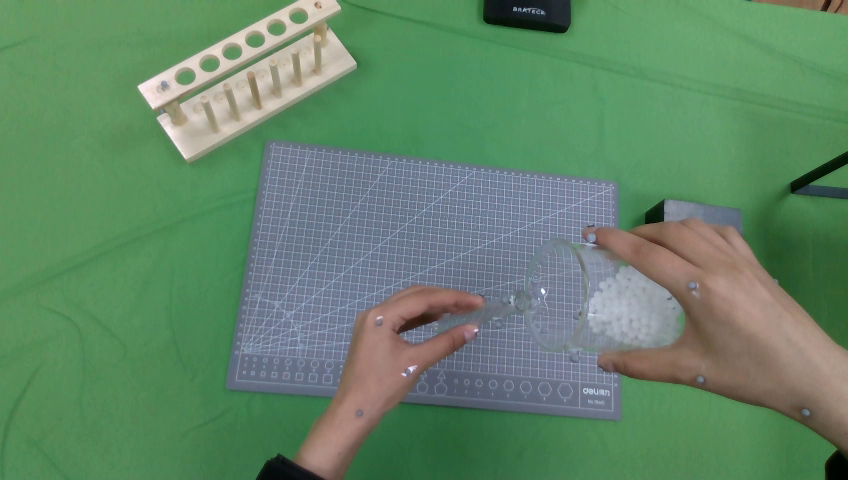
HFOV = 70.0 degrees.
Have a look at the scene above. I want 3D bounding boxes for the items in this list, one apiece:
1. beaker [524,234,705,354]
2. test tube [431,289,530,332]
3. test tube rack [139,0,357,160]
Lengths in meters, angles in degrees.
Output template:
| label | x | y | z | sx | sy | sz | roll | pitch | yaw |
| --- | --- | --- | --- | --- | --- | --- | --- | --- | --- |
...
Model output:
| label | x | y | z | sx | sy | sz | roll | pitch | yaw |
| --- | --- | --- | --- | --- | --- | --- | --- | --- | --- |
| beaker | 0.127 | 0.040 | 0.409 | 0.101 | 0.084 | 0.073 | 7 | 78 | -20 |
| test tube | 0.040 | 0.060 | 0.493 | 0.017 | 0.150 | 0.017 | 6 | 73 | -22 |
| test tube rack | -0.197 | -0.198 | 0.718 | 0.242 | 0.085 | 0.066 | -34 | 81 | -15 |
